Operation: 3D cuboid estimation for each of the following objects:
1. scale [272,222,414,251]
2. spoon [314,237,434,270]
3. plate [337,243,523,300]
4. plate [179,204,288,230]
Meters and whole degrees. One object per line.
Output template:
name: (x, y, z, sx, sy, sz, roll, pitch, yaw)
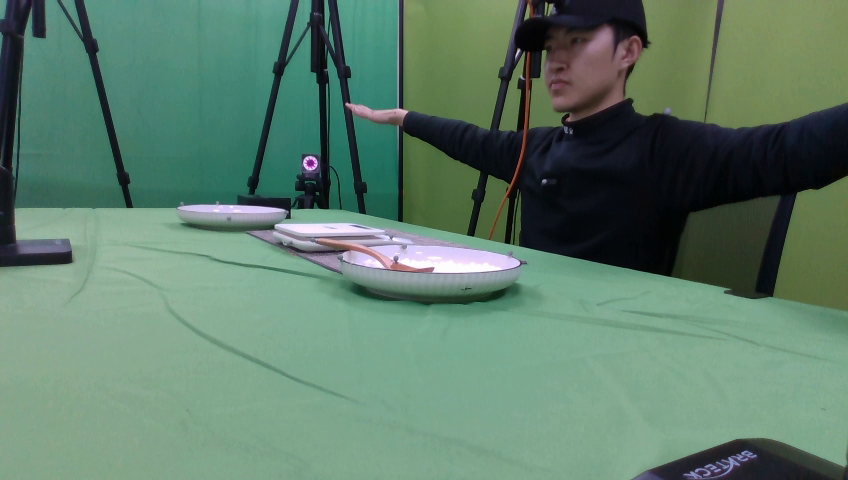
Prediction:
scale: (-0.131, -0.008, 0.984, 0.202, 0.031, 0.148, -2, 8, -32)
spoon: (-0.064, 0.015, 0.695, 0.192, 0.021, 0.042, 18, 17, 42)
plate: (0.007, 0.035, 0.688, 0.209, 0.038, 0.209, 2, 6, 0)
plate: (-0.382, -0.046, 1.222, 0.208, 0.039, 0.207, 2, 7, 0)
